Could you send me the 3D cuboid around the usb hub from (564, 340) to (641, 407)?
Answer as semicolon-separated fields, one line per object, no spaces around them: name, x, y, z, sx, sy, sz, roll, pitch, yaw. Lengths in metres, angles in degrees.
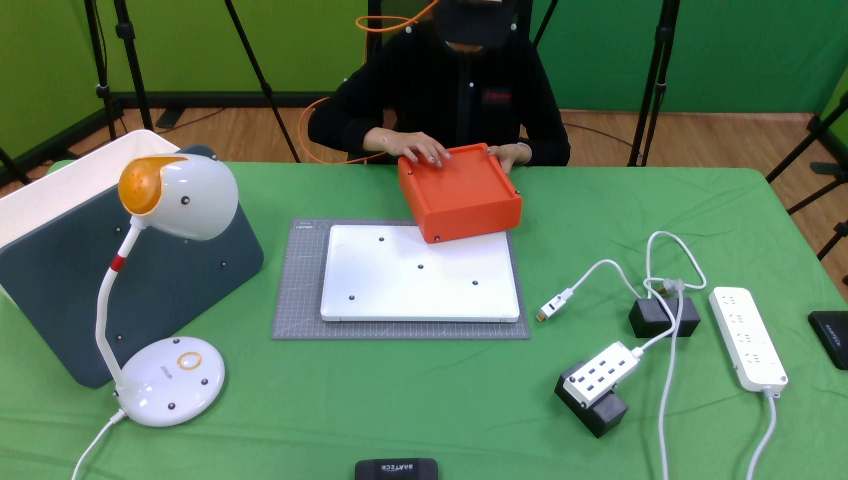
usb hub;0.278;0.205;0.944;0.125;0.025;0.049;-27;52;-28

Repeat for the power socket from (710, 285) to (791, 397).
power socket;0.568;0.167;1.064;0.072;0.033;0.225;2;46;0

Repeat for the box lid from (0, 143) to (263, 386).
box lid;-0.444;0.032;0.979;0.015;0.264;0.371;13;42;41

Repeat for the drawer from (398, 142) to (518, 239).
drawer;0.065;-0.104;1.239;0.195;0.073;0.210;-11;42;-11

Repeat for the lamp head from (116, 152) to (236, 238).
lamp head;-0.315;-0.057;0.748;0.112;0.112;0.123;26;10;20

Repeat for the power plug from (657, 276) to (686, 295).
power plug;0.450;0.087;1.113;0.073;0.052;0.035;-13;72;-55

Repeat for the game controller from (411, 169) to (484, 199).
game controller;0.052;-0.120;1.277;0.155;0.051;0.097;-12;12;-14

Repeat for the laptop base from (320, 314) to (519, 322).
laptop base;-0.009;0.061;1.138;0.354;0.023;0.234;1;43;-3

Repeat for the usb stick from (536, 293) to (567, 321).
usb stick;0.226;0.122;1.083;0.059;0.027;0.021;-38;78;-8

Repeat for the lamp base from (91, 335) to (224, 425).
lamp base;-0.401;0.170;0.892;0.160;0.181;0.179;30;53;23

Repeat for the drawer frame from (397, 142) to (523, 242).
drawer frame;0.067;-0.103;1.237;0.202;0.083;0.212;-11;41;-12

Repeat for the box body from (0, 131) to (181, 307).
box body;-0.550;-0.007;1.068;0.253;0.161;0.363;30;51;23

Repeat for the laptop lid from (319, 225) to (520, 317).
laptop lid;-0.008;0.052;1.131;0.357;0.013;0.240;2;44;-2
